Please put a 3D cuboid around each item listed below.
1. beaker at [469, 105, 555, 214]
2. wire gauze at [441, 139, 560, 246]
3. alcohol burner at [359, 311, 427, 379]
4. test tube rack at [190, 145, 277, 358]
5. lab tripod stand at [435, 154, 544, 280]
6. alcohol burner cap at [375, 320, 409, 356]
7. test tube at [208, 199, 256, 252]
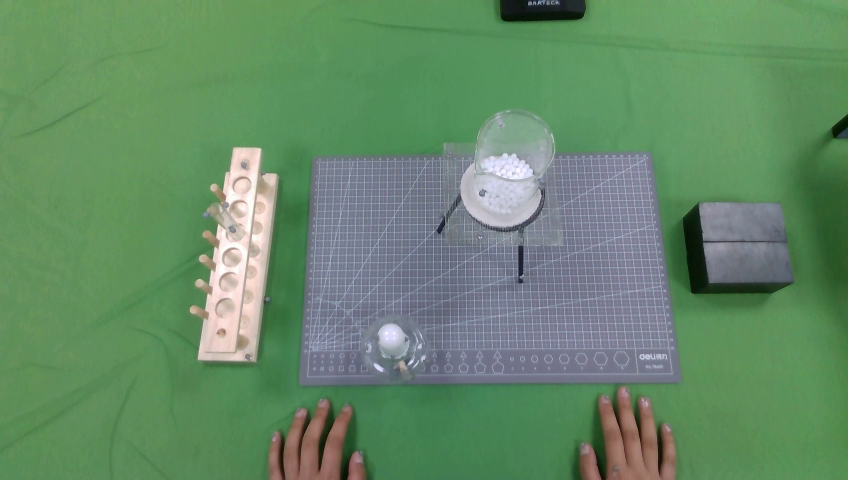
[{"bbox_3d":[0.081,-0.072,0.601,0.084,0.101,0.073,-33,74,-10],"label":"beaker"},{"bbox_3d":[0.081,-0.053,0.645,0.125,0.011,0.120,1,72,-2],"label":"wire gauze"},{"bbox_3d":[-0.035,0.113,0.672,0.078,0.120,0.077,0,71,-1],"label":"alcohol burner"},{"bbox_3d":[-0.231,0.014,0.724,0.067,0.085,0.241,2,72,1],"label":"test tube rack"},{"bbox_3d":[0.086,-0.036,0.709,0.148,0.132,0.147,0,70,1],"label":"lab tripod stand"},{"bbox_3d":[-0.035,0.102,0.638,0.034,0.048,0.033,-2,68,5],"label":"alcohol burner cap"},{"bbox_3d":[-0.212,-0.013,0.680,0.017,0.151,0.017,1,73,-1],"label":"test tube"}]
